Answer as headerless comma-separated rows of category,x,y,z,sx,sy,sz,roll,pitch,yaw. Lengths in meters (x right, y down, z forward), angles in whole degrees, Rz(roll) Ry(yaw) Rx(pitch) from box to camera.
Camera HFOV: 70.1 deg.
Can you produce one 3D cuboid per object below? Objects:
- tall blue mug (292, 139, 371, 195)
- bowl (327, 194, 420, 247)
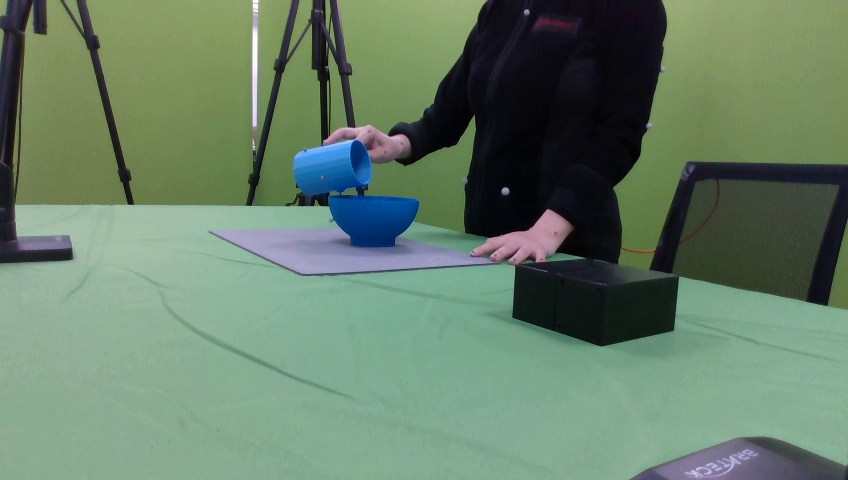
tall blue mug,-0.151,-0.132,1.019,0.107,0.078,0.107,-8,48,20
bowl,-0.083,-0.032,0.988,0.151,0.077,0.151,2,7,0
